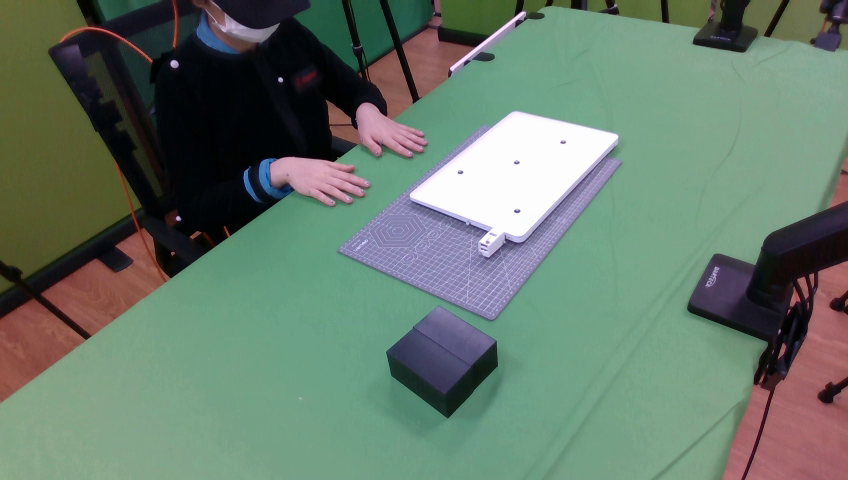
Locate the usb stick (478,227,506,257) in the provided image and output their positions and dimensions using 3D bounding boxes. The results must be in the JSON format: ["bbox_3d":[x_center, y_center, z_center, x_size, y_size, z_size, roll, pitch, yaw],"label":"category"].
[{"bbox_3d":[0.109,-0.001,0.934,0.021,0.027,0.059,23,43,33],"label":"usb stick"}]

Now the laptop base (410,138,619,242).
[{"bbox_3d":[0.170,-0.127,1.096,0.233,0.023,0.355,21,47,34],"label":"laptop base"}]

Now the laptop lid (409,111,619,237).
[{"bbox_3d":[0.167,-0.136,1.089,0.239,0.013,0.358,24,48,34],"label":"laptop lid"}]
